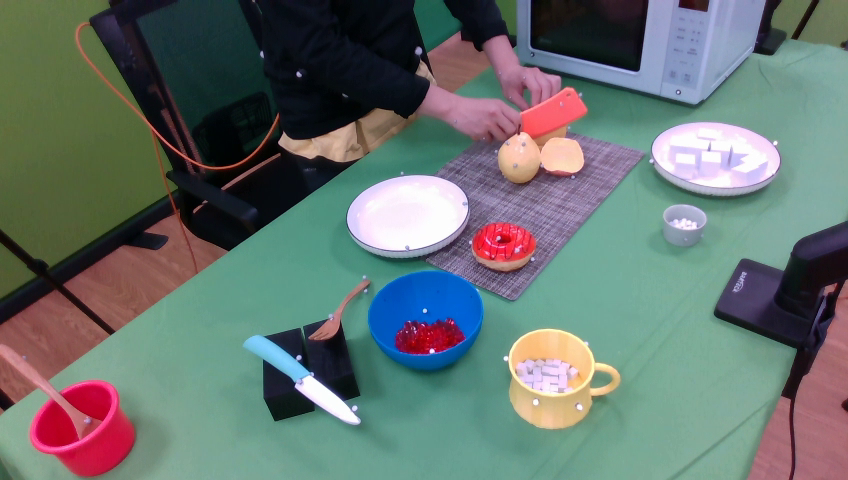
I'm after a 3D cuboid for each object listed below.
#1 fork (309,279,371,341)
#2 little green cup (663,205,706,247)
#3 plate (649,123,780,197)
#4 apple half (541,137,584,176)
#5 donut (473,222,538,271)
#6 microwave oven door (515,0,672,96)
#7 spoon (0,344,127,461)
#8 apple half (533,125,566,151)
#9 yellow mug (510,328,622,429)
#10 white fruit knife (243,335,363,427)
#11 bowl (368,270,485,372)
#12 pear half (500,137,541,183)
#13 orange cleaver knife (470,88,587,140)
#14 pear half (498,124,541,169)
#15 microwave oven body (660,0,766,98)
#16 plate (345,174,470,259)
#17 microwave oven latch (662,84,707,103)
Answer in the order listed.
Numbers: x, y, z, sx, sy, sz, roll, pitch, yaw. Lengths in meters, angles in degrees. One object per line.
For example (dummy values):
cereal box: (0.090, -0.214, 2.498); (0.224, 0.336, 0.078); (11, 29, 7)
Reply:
fork: (-0.109, 0.092, 0.832); (0.028, 0.018, 0.207); (-6, 19, 15)
little green cup: (0.396, -0.020, 0.926); (0.061, 0.039, 0.061); (-4, 40, 4)
plate: (0.497, -0.135, 1.046); (0.207, 0.039, 0.206); (-4, 40, 4)
apple half: (0.248, -0.146, 1.089); (0.081, 0.033, 0.081); (-2, 65, 4)
donut: (0.123, 0.008, 0.923); (0.099, 0.048, 0.098); (-3, 38, 3)
microwave oven door: (0.343, -0.455, 1.259); (0.353, 0.245, 0.039); (26, 51, 33)
spoon: (-0.433, 0.191, 0.721); (0.194, 0.021, 0.042); (47, 53, -6)
apple half: (0.226, -0.212, 1.145); (0.081, 0.075, 0.053); (-9, 35, 5)
yellow mug: (0.169, 0.164, 0.721); (0.130, 0.064, 0.099); (0, 40, 8)
white fruit knife: (-0.148, 0.167, 0.729); (0.206, 0.016, 0.027); (27, 80, 31)
bowl: (0.007, 0.118, 0.791); (0.151, 0.077, 0.150); (-5, 40, 4)
pear half: (0.169, -0.133, 1.047); (0.070, 0.088, 0.031); (-3, 40, -2)
orange cleaver knife: (0.190, -0.213, 1.101); (0.211, 0.078, 0.012); (-20, 42, 13)
pear half: (0.168, -0.163, 1.068); (0.076, 0.110, 0.055); (-3, 41, -1)
microwave oven body: (0.472, -0.513, 1.317); (0.438, 0.261, 0.327); (26, 51, 34)
plate: (-0.026, -0.037, 1.004); (0.209, 0.038, 0.208); (-4, 40, 4)
microwave oven latch: (0.517, -0.296, 1.204); (0.078, 0.029, 0.030); (27, 52, 35)
